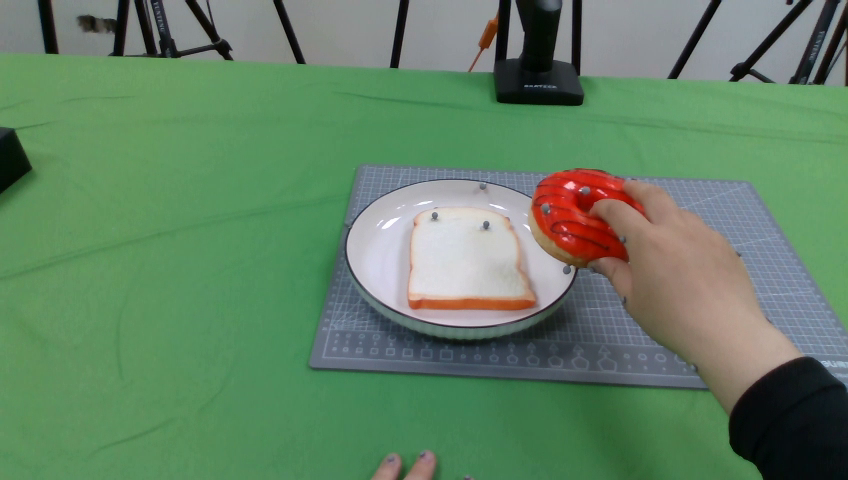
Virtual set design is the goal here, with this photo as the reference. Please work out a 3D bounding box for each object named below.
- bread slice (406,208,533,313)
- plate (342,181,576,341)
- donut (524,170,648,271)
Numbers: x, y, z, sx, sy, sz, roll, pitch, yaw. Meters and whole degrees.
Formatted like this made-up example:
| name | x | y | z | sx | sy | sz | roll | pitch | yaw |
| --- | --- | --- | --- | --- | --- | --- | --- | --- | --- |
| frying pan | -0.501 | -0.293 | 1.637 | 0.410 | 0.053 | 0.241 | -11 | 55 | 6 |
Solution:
| name | x | y | z | sx | sy | sz | roll | pitch | yaw |
| --- | --- | --- | --- | --- | --- | --- | --- | --- | --- |
| bread slice | 0.033 | 0.016 | 0.555 | 0.107 | 0.018 | 0.133 | -1 | 40 | -5 |
| plate | 0.031 | 0.018 | 0.550 | 0.209 | 0.038 | 0.207 | 2 | 39 | -1 |
| donut | 0.129 | -0.016 | 0.485 | 0.099 | 0.048 | 0.098 | 3 | 48 | -2 |
